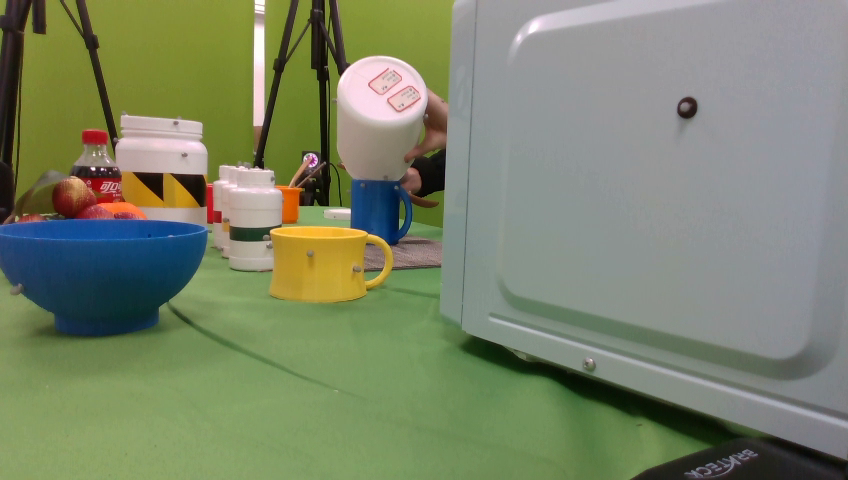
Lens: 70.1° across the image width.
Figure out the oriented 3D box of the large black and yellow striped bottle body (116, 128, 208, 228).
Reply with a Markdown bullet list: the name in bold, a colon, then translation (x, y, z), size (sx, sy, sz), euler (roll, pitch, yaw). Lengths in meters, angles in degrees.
- **large black and yellow striped bottle body**: translation (-0.404, -0.089, 0.937), size (0.131, 0.184, 0.130), euler (3, 7, 0)

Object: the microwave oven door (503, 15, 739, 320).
- **microwave oven door**: translation (0.218, -0.065, 0.600), size (0.358, 0.243, 0.039), euler (-4, 10, -41)

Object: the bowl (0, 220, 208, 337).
- **bowl**: translation (-0.251, 0.029, 0.479), size (0.151, 0.077, 0.151), euler (2, 7, 0)

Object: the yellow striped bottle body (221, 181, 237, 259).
- **yellow striped bottle body**: translation (-0.244, -0.036, 0.823), size (0.063, 0.120, 0.063), euler (3, 8, 0)

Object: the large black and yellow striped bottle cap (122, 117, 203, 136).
- **large black and yellow striped bottle cap**: translation (-0.399, -0.174, 0.927), size (0.115, 0.019, 0.115), euler (5, 9, -1)

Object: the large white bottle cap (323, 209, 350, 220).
- **large white bottle cap**: translation (-0.184, -0.062, 1.449), size (0.115, 0.018, 0.115), euler (2, 8, 0)

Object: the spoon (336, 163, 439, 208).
- **spoon**: translation (-0.064, -0.097, 1.066), size (0.194, 0.021, 0.041), euler (25, -10, -10)

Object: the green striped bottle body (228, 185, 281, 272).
- **green striped bottle body**: translation (-0.208, -0.024, 0.745), size (0.063, 0.119, 0.063), euler (2, 7, 0)

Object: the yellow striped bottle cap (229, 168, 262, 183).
- **yellow striped bottle cap**: translation (-0.241, -0.087, 0.816), size (0.044, 0.018, 0.044), euler (-2, 5, 1)

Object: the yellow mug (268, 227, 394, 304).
- **yellow mug**: translation (-0.094, 0.023, 0.630), size (0.131, 0.064, 0.099), euler (0, 8, -22)

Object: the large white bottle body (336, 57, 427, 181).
- **large white bottle body**: translation (-0.070, -0.174, 0.937), size (0.131, 0.130, 0.184), euler (1, -27, -8)

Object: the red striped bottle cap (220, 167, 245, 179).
- **red striped bottle cap**: translation (-0.281, -0.100, 0.901), size (0.044, 0.017, 0.044), euler (0, 5, 0)

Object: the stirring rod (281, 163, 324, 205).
- **stirring rod**: translation (-0.278, -0.105, 1.293), size (0.176, 0.006, 0.014), euler (-47, 25, -18)

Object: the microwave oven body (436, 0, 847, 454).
- **microwave oven body**: translation (0.279, -0.040, 0.464), size (0.444, 0.260, 0.324), euler (-3, 9, -41)

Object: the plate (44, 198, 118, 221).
- **plate**: translation (-0.617, -0.056, 1.179), size (0.209, 0.038, 0.209), euler (3, 7, 0)

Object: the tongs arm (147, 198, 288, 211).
- **tongs arm**: translation (-0.503, -0.091, 1.513), size (0.028, 0.028, 0.389), euler (-1, 4, 38)

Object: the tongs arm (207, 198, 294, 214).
- **tongs arm**: translation (-0.423, -0.084, 1.472), size (0.050, 0.026, 0.386), euler (2, 6, 22)

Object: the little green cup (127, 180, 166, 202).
- **little green cup**: translation (-0.485, -0.087, 1.062), size (0.061, 0.038, 0.061), euler (0, 6, 0)

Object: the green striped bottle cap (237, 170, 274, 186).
- **green striped bottle cap**: translation (-0.205, -0.075, 0.737), size (0.044, 0.020, 0.044), euler (1, 6, 0)

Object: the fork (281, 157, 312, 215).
- **fork**: translation (-0.289, -0.116, 1.321), size (0.028, 0.019, 0.207), euler (6, 51, 19)

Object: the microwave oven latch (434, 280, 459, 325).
- **microwave oven latch**: translation (0.044, 0.045, 0.470), size (0.079, 0.029, 0.030), euler (-2, 8, -39)

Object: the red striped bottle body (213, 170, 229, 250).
- **red striped bottle body**: translation (-0.283, -0.047, 0.909), size (0.063, 0.119, 0.063), euler (3, 14, 0)

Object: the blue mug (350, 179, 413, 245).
- **blue mug**: translation (-0.068, -0.047, 1.000), size (0.116, 0.106, 0.083), euler (7, 9, 31)
